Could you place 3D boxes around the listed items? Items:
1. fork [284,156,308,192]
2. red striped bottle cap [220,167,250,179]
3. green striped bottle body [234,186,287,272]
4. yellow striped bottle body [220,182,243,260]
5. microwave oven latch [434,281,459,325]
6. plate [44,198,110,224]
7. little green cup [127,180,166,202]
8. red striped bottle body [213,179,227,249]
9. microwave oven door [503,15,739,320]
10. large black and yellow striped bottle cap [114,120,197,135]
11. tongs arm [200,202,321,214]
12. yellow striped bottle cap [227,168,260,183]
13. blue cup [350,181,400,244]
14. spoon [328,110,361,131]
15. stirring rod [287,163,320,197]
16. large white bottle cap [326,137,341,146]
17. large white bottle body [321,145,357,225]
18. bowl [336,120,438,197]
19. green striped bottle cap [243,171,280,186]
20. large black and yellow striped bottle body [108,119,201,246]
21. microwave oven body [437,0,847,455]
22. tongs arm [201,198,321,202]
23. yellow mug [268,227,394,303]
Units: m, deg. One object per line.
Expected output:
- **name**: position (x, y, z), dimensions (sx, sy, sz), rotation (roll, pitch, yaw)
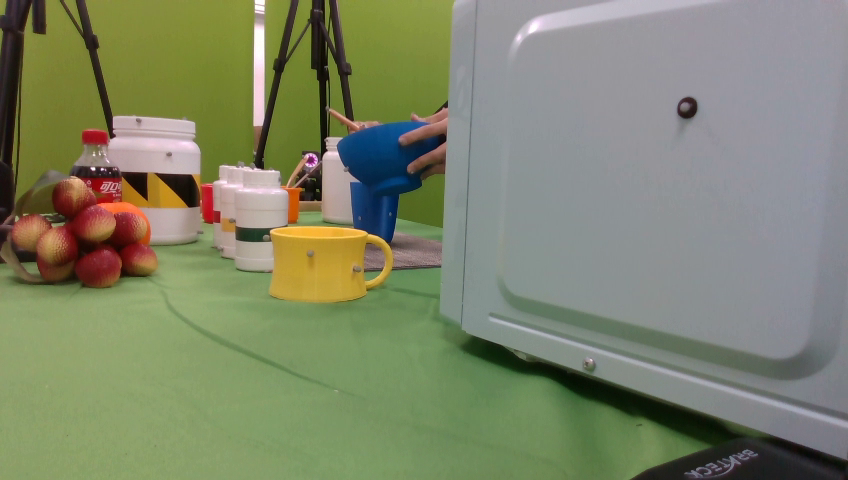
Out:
- **fork**: position (-0.295, -0.116, 1.323), dimensions (0.028, 0.019, 0.207), rotation (0, 50, 21)
- **red striped bottle cap**: position (-0.281, -0.100, 0.901), dimensions (0.044, 0.017, 0.044), rotation (-1, 5, 0)
- **green striped bottle body**: position (-0.200, -0.023, 0.743), dimensions (0.063, 0.119, 0.063), rotation (2, 7, 0)
- **yellow striped bottle body**: position (-0.245, -0.036, 0.825), dimensions (0.063, 0.120, 0.063), rotation (3, 8, 0)
- **microwave oven latch**: position (0.044, 0.045, 0.470), dimensions (0.079, 0.029, 0.030), rotation (-3, 8, -39)
- **plate**: position (-0.617, -0.056, 1.179), dimensions (0.209, 0.038, 0.209), rotation (3, 7, 0)
- **little green cup**: position (-0.485, -0.086, 1.061), dimensions (0.061, 0.038, 0.061), rotation (1, 7, 0)
- **red striped bottle body**: position (-0.284, -0.048, 0.909), dimensions (0.063, 0.119, 0.063), rotation (3, 11, 0)
- **microwave oven door**: position (0.218, -0.065, 0.600), dimensions (0.358, 0.243, 0.039), rotation (-4, 10, -41)
- **large black and yellow striped bottle cap**: position (-0.407, -0.171, 0.920), dimensions (0.115, 0.019, 0.115), rotation (2, 9, 0)
- **tongs arm**: position (-0.378, -0.079, 1.440), dimensions (0.387, 0.026, 0.050), rotation (-4, 7, -44)
- **yellow striped bottle cap**: position (-0.243, -0.087, 0.818), dimensions (0.044, 0.018, 0.044), rotation (3, 6, 0)
- **blue cup**: position (-0.083, -0.046, 1.014), dimensions (0.093, 0.100, 0.092), rotation (2, 8, 0)
- **spoon**: position (-0.091, -0.155, 0.928), dimensions (0.193, 0.021, 0.042), rotation (46, 20, 32)
- **stirring rod**: position (-0.283, -0.107, 1.298), dimensions (0.014, 0.006, 0.176), rotation (10, 52, 50)
- **large white bottle cap**: position (-0.158, -0.214, 1.329), dimensions (0.115, 0.018, 0.115), rotation (2, 7, 0)
- **large white bottle body**: position (-0.162, -0.131, 1.341), dimensions (0.131, 0.184, 0.130), rotation (2, 8, 0)
- **bowl**: position (-0.046, -0.109, 0.869), dimensions (0.151, 0.076, 0.151), rotation (-11, -6, -1)
- **green striped bottle cap**: position (-0.198, -0.074, 0.736), dimensions (0.044, 0.020, 0.044), rotation (1, 7, 0)
- **large black and yellow striped bottle body**: position (-0.412, -0.088, 0.930), dimensions (0.131, 0.184, 0.130), rotation (3, 7, 0)
- **microwave oven body**: position (0.279, -0.040, 0.465), dimensions (0.444, 0.260, 0.324), rotation (-3, 9, -41)
- **tongs arm**: position (-0.433, -0.090, 1.508), dimensions (0.390, 0.028, 0.028), rotation (-1, 2, -29)
- **yellow mug**: position (-0.094, 0.023, 0.629), dimensions (0.131, 0.064, 0.099), rotation (0, 7, -22)
